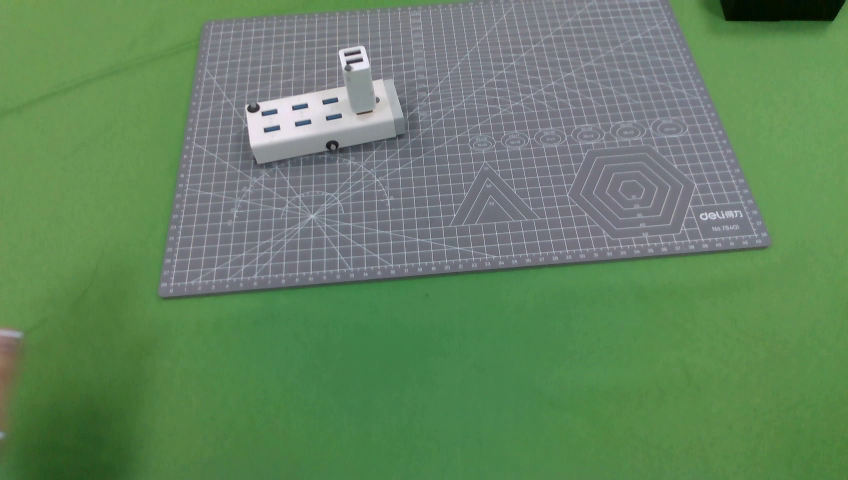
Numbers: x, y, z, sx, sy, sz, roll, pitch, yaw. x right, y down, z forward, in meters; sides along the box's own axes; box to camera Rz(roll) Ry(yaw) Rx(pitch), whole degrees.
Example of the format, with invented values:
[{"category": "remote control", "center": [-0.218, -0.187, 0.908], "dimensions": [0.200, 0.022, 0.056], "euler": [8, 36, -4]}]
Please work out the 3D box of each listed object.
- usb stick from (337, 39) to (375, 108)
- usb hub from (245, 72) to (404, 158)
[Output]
[{"category": "usb stick", "center": [-0.052, -0.125, 0.477], "dimensions": [0.021, 0.059, 0.027], "euler": [-14, 57, -6]}, {"category": "usb hub", "center": [-0.082, -0.105, 0.503], "dimensions": [0.125, 0.025, 0.049], "euler": [-12, 60, -6]}]
